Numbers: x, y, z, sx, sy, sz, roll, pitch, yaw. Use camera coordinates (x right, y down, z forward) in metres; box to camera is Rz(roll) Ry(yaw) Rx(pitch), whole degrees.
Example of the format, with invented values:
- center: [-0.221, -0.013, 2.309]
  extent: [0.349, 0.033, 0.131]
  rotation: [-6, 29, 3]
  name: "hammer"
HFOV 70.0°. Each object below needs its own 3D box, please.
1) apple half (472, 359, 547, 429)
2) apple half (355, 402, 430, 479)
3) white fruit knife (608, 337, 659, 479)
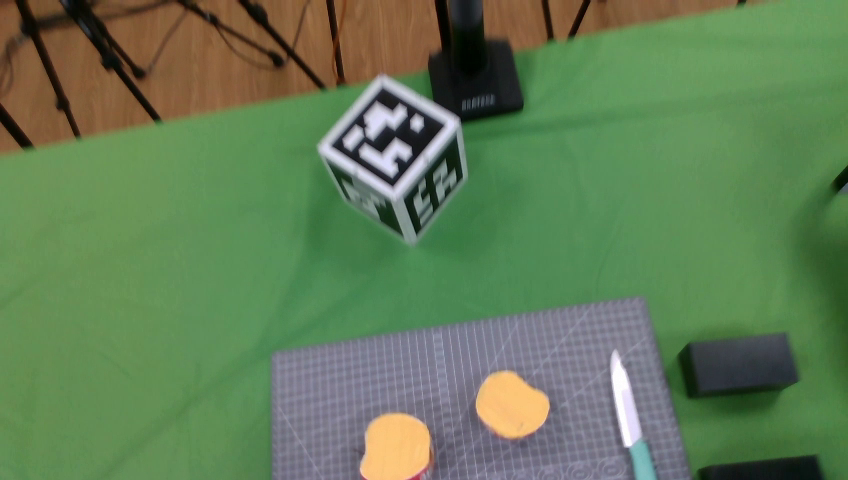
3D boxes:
- center: [0.088, 0.172, 0.649]
  extent: [0.081, 0.033, 0.080]
  rotation: [-1, 47, 1]
  name: "apple half"
- center: [-0.029, 0.217, 0.636]
  extent: [0.074, 0.054, 0.080]
  rotation: [-9, 43, 8]
  name: "apple half"
- center: [0.219, 0.200, 0.630]
  extent: [0.027, 0.016, 0.205]
  rotation: [-2, 65, -7]
  name: "white fruit knife"
